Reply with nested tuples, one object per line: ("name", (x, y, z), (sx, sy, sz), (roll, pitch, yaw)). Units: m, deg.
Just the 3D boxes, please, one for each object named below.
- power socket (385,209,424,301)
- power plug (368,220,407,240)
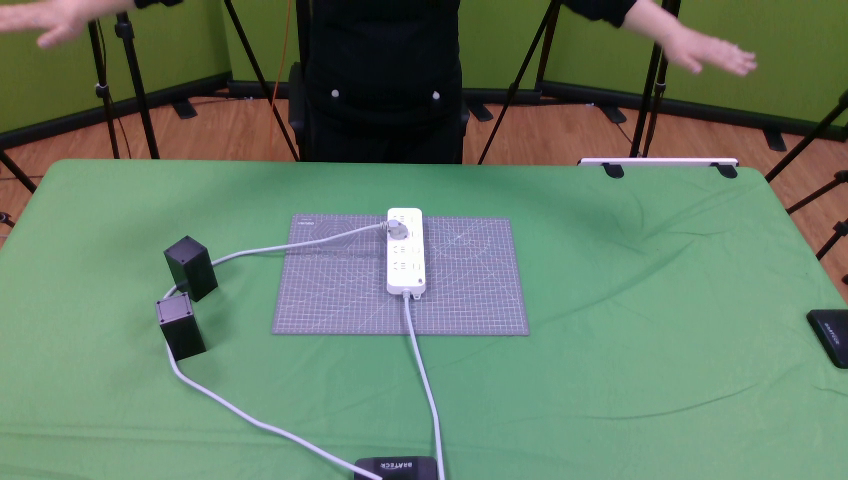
("power socket", (-0.039, 0.019, 1.165), (0.072, 0.033, 0.225), (0, 46, -3))
("power plug", (-0.068, -0.017, 1.173), (0.072, 0.053, 0.035), (7, 45, 6))
